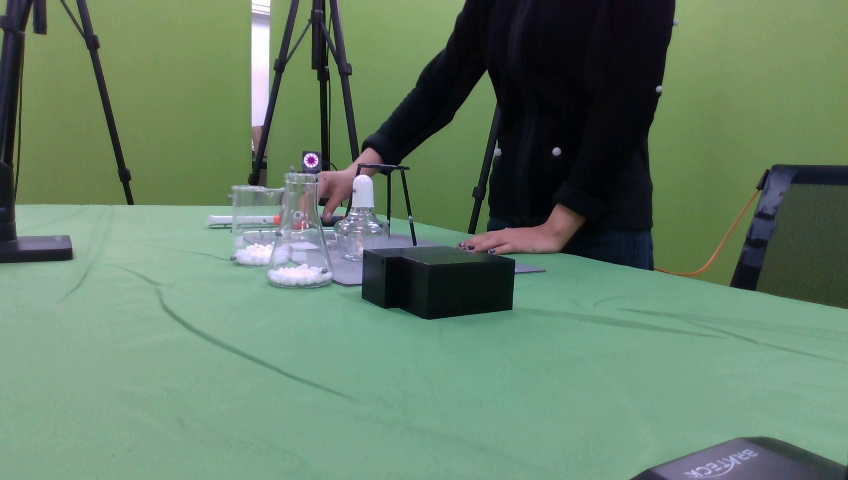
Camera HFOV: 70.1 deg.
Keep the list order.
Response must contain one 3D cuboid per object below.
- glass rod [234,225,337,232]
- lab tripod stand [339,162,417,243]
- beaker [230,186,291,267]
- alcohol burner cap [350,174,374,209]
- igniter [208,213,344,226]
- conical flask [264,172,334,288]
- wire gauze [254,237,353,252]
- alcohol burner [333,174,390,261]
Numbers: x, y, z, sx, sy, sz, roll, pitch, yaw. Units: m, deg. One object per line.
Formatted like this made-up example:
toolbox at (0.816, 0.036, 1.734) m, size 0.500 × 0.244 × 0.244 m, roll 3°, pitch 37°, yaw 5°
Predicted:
glass rod at (-0.256, -0.023, 1.136) m, size 0.201 × 0.008 × 0.008 m, roll -3°, pitch 9°, yaw -33°
lab tripod stand at (-0.067, -0.065, 1.027) m, size 0.148 × 0.131 × 0.148 m, roll 4°, pitch 7°, yaw 0°
beaker at (-0.209, -0.019, 0.778) m, size 0.074 × 0.100 × 0.084 m, roll 3°, pitch 6°, yaw 4°
alcohol burner cap at (-0.085, -0.067, 0.829) m, size 0.034 × 0.048 × 0.034 m, roll 0°, pitch 2°, yaw 0°
igniter at (-0.283, -0.041, 1.200) m, size 0.278 × 0.025 × 0.057 m, roll -2°, pitch -2°, yaw -34°
conical flask at (-0.136, -0.013, 0.660) m, size 0.075 × 0.122 × 0.075 m, roll 2°, pitch 7°, yaw 0°
wire gauze at (-0.188, 0.004, 0.940) m, size 0.122 × 0.011 × 0.124 m, roll -2°, pitch 6°, yaw -34°
alcohol burner at (-0.085, -0.031, 0.832) m, size 0.078 × 0.119 × 0.078 m, roll 3°, pitch 6°, yaw 0°
